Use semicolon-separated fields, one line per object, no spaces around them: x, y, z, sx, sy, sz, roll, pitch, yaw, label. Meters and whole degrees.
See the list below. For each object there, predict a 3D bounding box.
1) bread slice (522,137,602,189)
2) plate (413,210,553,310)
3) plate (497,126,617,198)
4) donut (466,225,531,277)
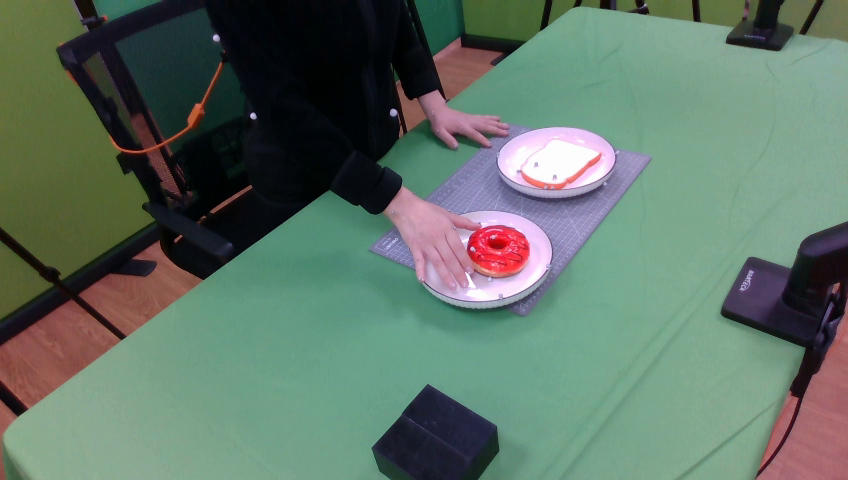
0.242;-0.136;1.085;0.106;0.018;0.134;23;50;34;bread slice
0.089;0.033;0.914;0.207;0.039;0.206;-5;40;5;plate
0.236;-0.136;1.085;0.209;0.038;0.208;-5;40;5;plate
0.112;0.017;0.911;0.099;0.048;0.098;-2;42;2;donut
